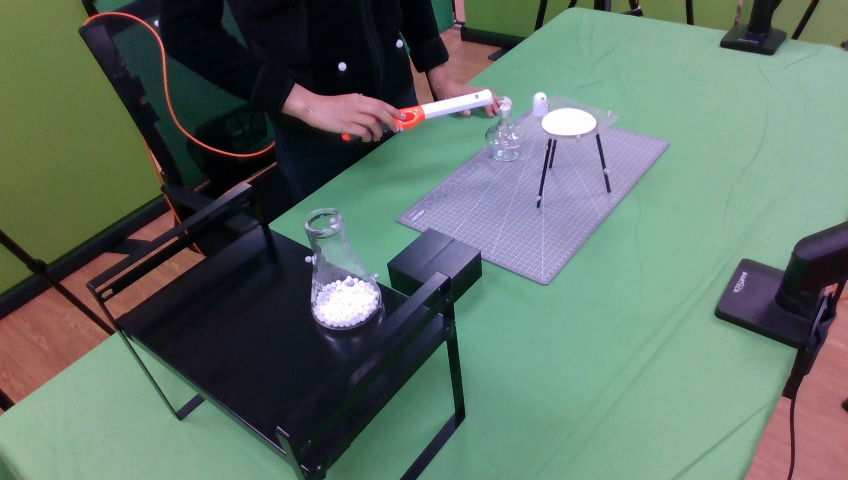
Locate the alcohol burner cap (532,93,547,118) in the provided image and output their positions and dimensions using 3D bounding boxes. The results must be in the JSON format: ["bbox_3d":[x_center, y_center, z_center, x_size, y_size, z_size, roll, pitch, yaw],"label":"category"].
[{"bbox_3d":[0.240,-0.281,1.251,0.034,0.048,0.033,-4,42,4],"label":"alcohol burner cap"}]

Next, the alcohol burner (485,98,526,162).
[{"bbox_3d":[0.151,-0.208,1.123,0.078,0.119,0.077,-5,39,4],"label":"alcohol burner"}]

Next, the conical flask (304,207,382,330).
[{"bbox_3d":[-0.088,0.025,0.601,0.075,0.122,0.075,-5,40,5],"label":"conical flask"}]

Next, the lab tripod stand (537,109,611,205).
[{"bbox_3d":[0.244,-0.141,1.014,0.148,0.132,0.147,-3,39,3],"label":"lab tripod stand"}]

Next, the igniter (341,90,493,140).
[{"bbox_3d":[-0.013,-0.221,1.063,0.277,0.025,0.057,-15,43,-9],"label":"igniter"}]

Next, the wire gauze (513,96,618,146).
[{"bbox_3d":[0.229,-0.190,0.969,0.120,0.011,0.125,26,50,33],"label":"wire gauze"}]
